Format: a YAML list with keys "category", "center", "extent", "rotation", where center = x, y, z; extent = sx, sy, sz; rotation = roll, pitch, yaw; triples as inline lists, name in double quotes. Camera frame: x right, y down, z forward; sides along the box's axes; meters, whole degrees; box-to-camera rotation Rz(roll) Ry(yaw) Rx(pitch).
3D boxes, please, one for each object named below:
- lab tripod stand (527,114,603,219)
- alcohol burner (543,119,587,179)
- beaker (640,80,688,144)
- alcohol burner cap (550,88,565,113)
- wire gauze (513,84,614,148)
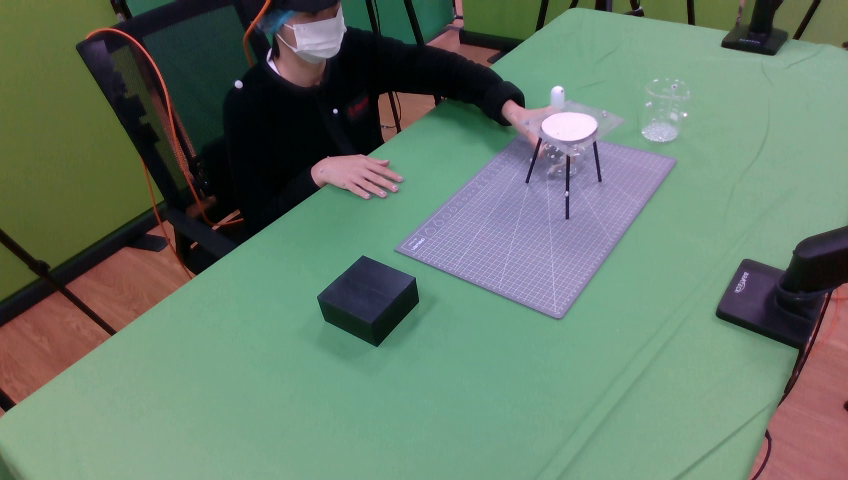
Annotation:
- category: "lab tripod stand"
  center: [0.234, -0.129, 1.002]
  extent: [0.148, 0.132, 0.147]
  rotation: [-6, 40, 6]
- category: "alcohol burner"
  center: [0.247, -0.167, 1.058]
  extent: [0.078, 0.119, 0.077]
  rotation: [-3, 45, 4]
- category: "beaker"
  center: [0.446, -0.235, 1.126]
  extent: [0.074, 0.101, 0.083]
  rotation: [-34, 47, -27]
- category: "alcohol burner cap"
  center: [0.281, -0.296, 1.271]
  extent: [0.034, 0.048, 0.033]
  rotation: [-5, 41, 5]
- category: "wire gauze"
  center: [0.220, -0.194, 0.951]
  extent: [0.120, 0.011, 0.125]
  rotation: [23, 56, 25]
